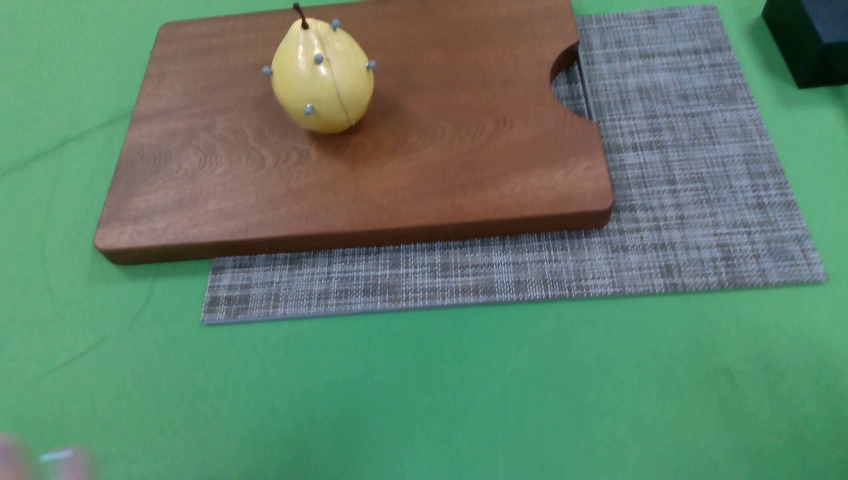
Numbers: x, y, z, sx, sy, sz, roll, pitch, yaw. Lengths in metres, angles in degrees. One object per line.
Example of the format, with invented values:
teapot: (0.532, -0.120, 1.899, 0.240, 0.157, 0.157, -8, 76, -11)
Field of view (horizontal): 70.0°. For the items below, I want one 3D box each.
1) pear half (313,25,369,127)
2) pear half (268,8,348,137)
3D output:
pear half: (-0.061, -0.134, 0.480, 0.031, 0.089, 0.069, -18, 55, -4)
pear half: (-0.096, -0.130, 0.470, 0.056, 0.111, 0.075, -19, 54, -4)
